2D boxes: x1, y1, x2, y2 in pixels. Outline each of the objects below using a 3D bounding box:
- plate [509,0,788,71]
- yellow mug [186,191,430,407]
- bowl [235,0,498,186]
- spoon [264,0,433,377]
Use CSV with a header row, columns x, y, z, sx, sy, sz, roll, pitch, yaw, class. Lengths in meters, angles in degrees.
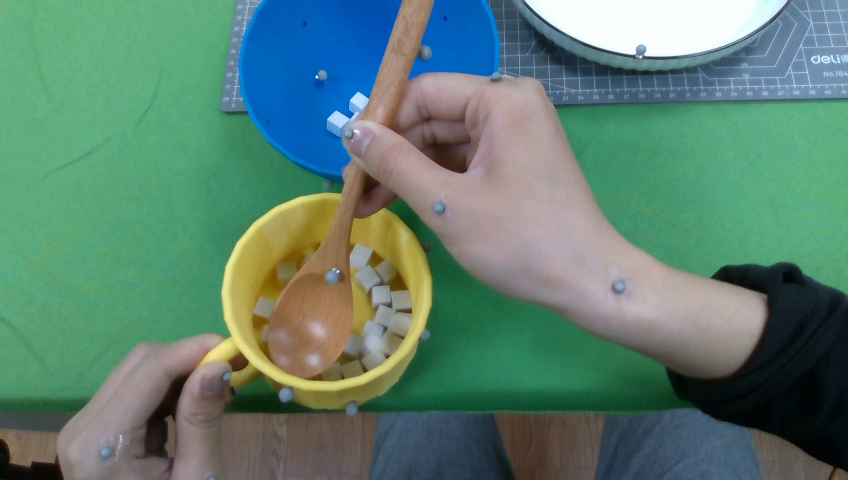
x,y,z,sx,sy,sz,roll,pitch,yaw,class
0.150,-0.203,0.423,0.209,0.038,0.207,-1,71,4,plate
-0.061,0.041,0.313,0.131,0.064,0.099,-33,76,-17,yellow mug
-0.030,-0.095,0.379,0.151,0.077,0.150,-1,75,4,bowl
-0.032,-0.021,0.274,0.041,0.021,0.194,24,110,7,spoon
